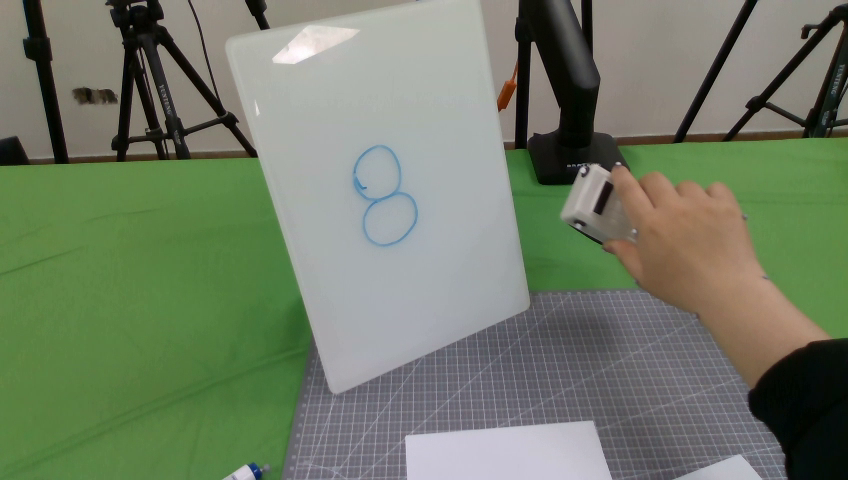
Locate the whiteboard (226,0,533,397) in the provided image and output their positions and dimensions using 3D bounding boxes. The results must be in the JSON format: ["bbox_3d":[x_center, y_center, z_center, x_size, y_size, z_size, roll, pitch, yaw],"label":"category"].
[{"bbox_3d":[-0.045,-0.052,0.577,0.217,0.307,0.142,-20,20,-21],"label":"whiteboard"}]

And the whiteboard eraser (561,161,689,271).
[{"bbox_3d":[0.178,-0.020,0.543,0.113,0.055,0.041,28,-8,-14],"label":"whiteboard eraser"}]

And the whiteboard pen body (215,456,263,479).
[{"bbox_3d":[-0.181,0.200,0.433,0.141,0.017,0.017,-28,44,-31],"label":"whiteboard pen body"}]
